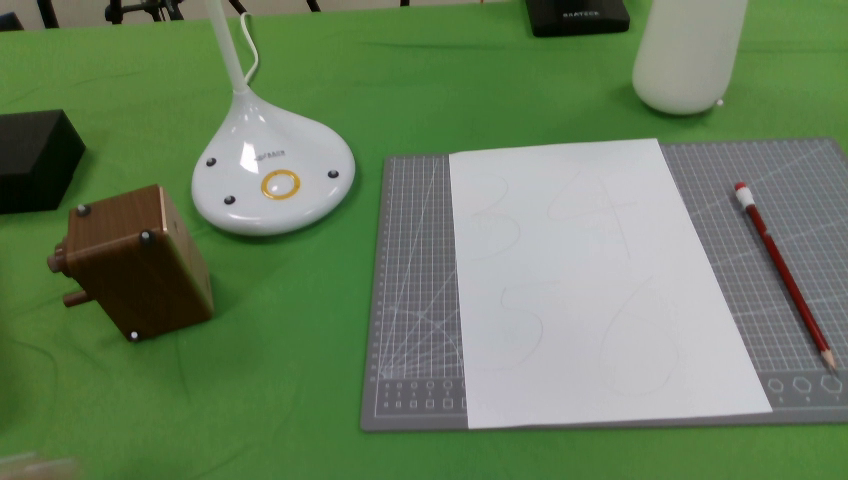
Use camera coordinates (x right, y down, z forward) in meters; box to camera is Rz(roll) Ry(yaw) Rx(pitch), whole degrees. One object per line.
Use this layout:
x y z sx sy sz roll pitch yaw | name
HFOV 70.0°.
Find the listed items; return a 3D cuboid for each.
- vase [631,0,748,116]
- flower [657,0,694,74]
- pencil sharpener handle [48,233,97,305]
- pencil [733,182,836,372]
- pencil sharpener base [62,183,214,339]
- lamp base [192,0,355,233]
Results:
0.266 -0.223 0.594 0.098 0.202 0.097 -3 47 4 | vase
0.254 -0.262 0.519 0.044 0.364 0.038 40 75 18 | flower
-0.270 0.026 0.459 0.031 0.068 0.035 -18 53 -10 | pencil sharpener handle
0.292 0.022 0.496 0.012 0.012 0.192 -4 50 2 | pencil
-0.221 0.020 0.477 0.077 0.108 0.060 -18 49 -10 | pencil sharpener base
-0.161 -0.126 0.554 0.161 0.182 0.177 -26 49 -17 | lamp base
